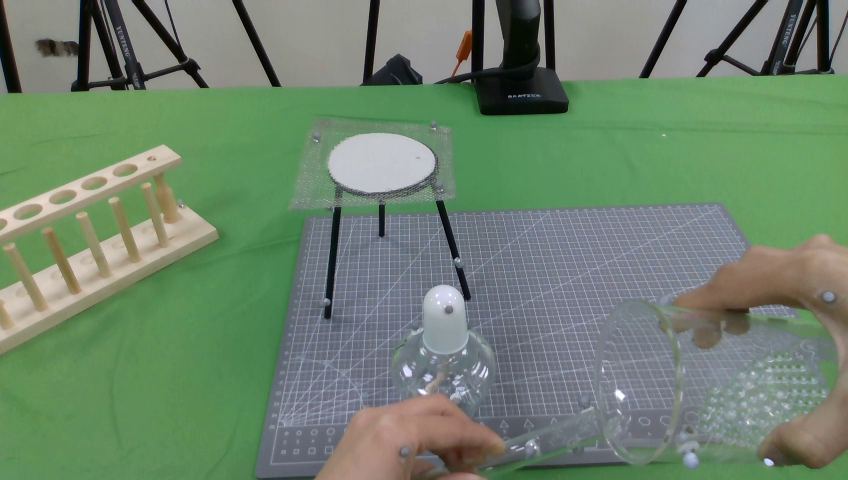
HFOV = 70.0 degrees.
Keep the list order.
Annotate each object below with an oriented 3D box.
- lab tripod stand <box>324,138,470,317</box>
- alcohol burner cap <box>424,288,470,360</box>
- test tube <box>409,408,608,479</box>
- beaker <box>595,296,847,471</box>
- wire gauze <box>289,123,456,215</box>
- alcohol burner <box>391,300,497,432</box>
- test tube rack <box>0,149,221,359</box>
[{"bbox_3d":[-0.028,-0.010,0.525,0.148,0.132,0.147,1,38,0],"label":"lab tripod stand"},{"bbox_3d":[0.015,0.054,0.407,0.034,0.048,0.033,-2,39,2],"label":"alcohol burner cap"},{"bbox_3d":[0.031,0.126,0.335,0.150,0.017,0.017,-30,32,24],"label":"test tube"},{"bbox_3d":[0.142,0.072,0.287,0.100,0.084,0.073,6,46,-10],"label":"beaker"},{"bbox_3d":[-0.037,-0.060,0.480,0.121,0.011,0.124,1,40,0],"label":"wire gauze"},{"bbox_3d":[0.014,0.081,0.429,0.078,0.120,0.077,0,41,0],"label":"alcohol burner"},{"bbox_3d":[-0.316,0.011,0.545,0.066,0.086,0.242,31,49,33],"label":"test tube rack"}]
